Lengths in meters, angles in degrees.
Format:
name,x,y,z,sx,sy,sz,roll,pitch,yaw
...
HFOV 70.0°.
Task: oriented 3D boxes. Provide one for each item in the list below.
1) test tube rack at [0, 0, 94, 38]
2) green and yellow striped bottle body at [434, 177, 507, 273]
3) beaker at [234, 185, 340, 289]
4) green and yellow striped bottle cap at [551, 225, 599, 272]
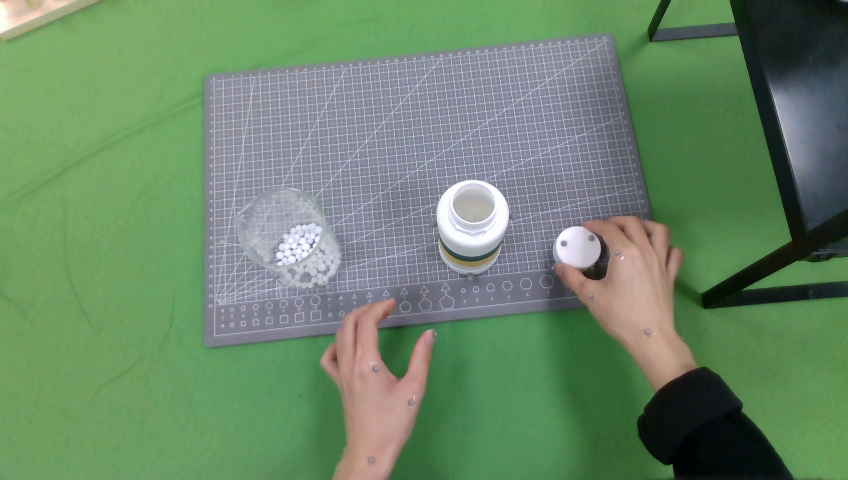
name,x,y,z,sx,sy,sz,roll,pitch,yaw
test tube rack,-0.389,-0.323,0.672,0.242,0.085,0.066,-26,74,-6
green and yellow striped bottle body,0.041,-0.014,0.548,0.063,0.120,0.063,-1,73,2
beaker,-0.122,0.002,0.559,0.084,0.101,0.073,14,73,7
green and yellow striped bottle cap,0.147,0.008,0.589,0.045,0.020,0.045,-1,72,2
